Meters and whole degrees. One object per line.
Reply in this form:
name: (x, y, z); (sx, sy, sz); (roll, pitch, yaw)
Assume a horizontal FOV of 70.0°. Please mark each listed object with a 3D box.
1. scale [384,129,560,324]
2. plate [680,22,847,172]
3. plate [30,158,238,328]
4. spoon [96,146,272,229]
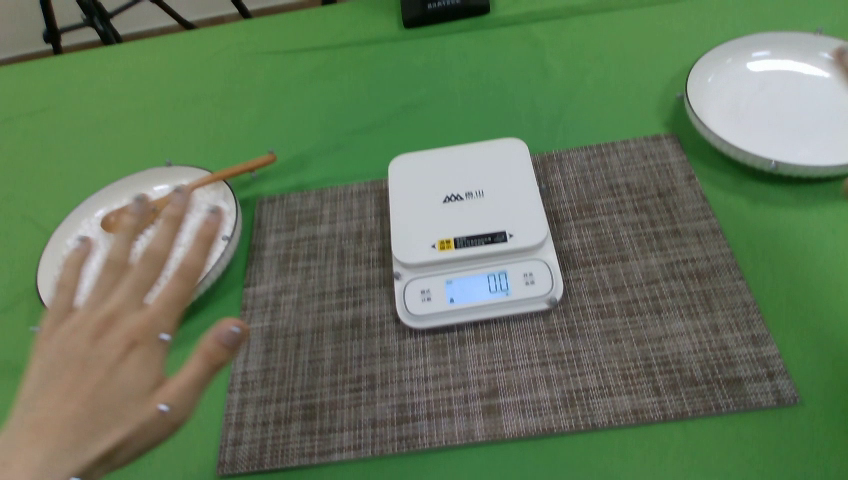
scale: (0.038, -0.020, 0.575); (0.148, 0.032, 0.199); (-9, 53, 4)
plate: (0.365, -0.141, 0.607); (0.207, 0.039, 0.205); (-5, 52, 7)
plate: (-0.289, 0.002, 0.619); (0.209, 0.038, 0.207); (-5, 53, 6)
spoon: (-0.251, -0.058, 0.637); (0.194, 0.022, 0.041); (-25, 52, 1)
